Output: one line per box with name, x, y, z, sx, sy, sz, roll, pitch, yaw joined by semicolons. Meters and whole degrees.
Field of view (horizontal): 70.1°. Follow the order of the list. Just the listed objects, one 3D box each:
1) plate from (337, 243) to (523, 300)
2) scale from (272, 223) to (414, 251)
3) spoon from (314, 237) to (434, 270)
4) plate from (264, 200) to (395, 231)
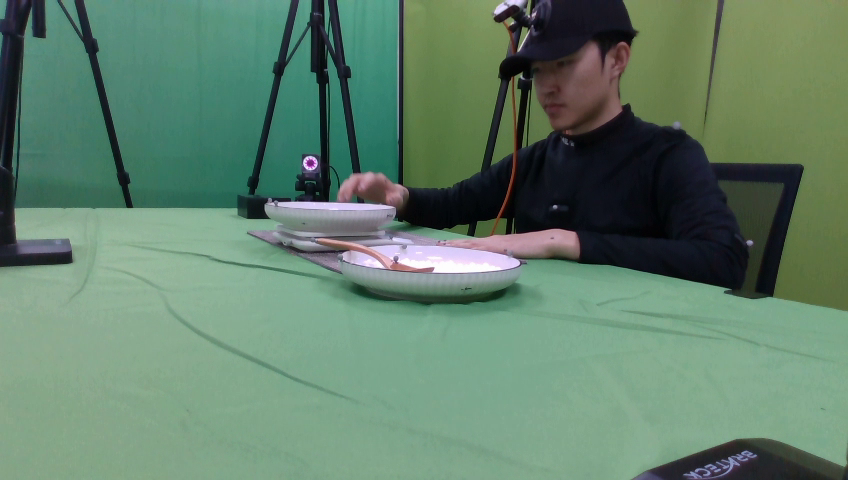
plate;0.007;0.035;0.688;0.209;0.038;0.209;2;7;0
scale;-0.131;-0.008;0.984;0.202;0.031;0.148;-2;8;-32
spoon;-0.064;0.015;0.695;0.192;0.021;0.042;18;17;42
plate;-0.150;-0.040;0.971;0.208;0.039;0.207;2;7;0
